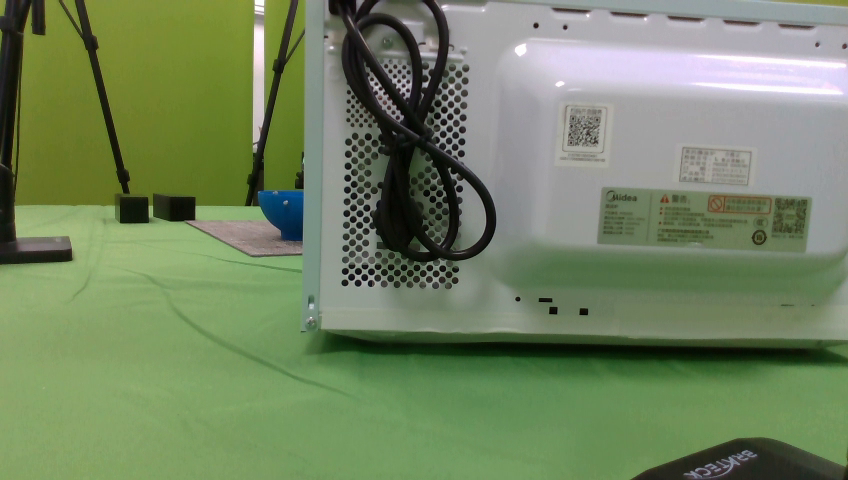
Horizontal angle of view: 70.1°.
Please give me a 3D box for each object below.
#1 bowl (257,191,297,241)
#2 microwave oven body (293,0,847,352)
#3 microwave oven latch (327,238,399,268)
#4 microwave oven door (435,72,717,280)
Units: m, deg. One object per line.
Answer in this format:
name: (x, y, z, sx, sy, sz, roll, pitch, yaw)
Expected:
bowl: (-0.206, -0.041, 1.027, 0.151, 0.077, 0.151, 3, 8, 0)
microwave oven body: (0.122, -0.055, 0.550, 0.442, 0.260, 0.325, 3, 7, -5)
microwave oven latch: (-0.069, 0.015, 0.694, 0.079, 0.029, 0.030, 3, 7, -3)
microwave oven door: (0.180, -0.090, 0.795, 0.354, 0.243, 0.039, 6, 7, 30)
